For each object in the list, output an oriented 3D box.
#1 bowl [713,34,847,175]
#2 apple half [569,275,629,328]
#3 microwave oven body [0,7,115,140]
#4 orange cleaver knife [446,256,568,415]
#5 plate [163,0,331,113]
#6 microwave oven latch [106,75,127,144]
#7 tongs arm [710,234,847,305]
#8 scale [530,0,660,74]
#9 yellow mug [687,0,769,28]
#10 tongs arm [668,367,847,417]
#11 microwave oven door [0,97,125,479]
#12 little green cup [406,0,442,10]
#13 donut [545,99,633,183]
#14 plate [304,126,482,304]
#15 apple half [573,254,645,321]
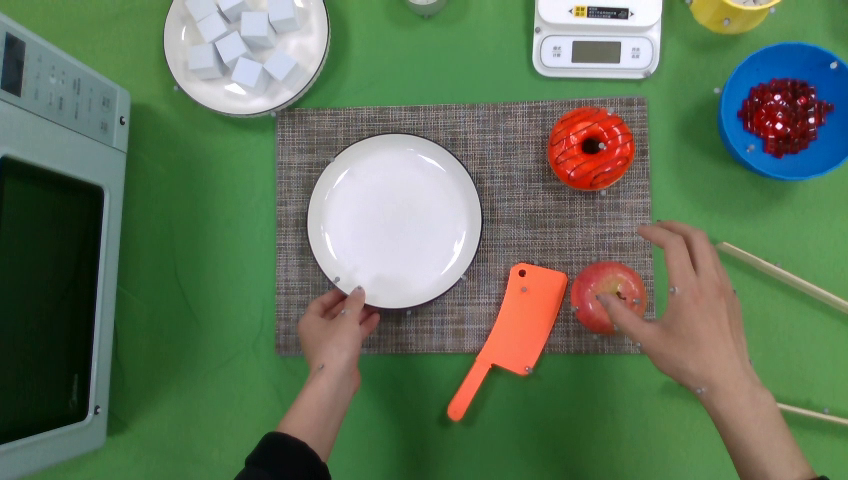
[{"bbox_3d":[0.390,-0.141,0.674,0.151,0.077,0.151,0,86,5],"label":"bowl"},{"bbox_3d":[0.185,0.075,0.671,0.081,0.081,0.033,42,86,7],"label":"apple half"},{"bbox_3d":[-0.543,0.006,0.639,0.326,0.261,0.441,1,86,4],"label":"microwave oven body"},{"bbox_3d":[0.096,0.114,0.701,0.077,0.012,0.211,28,86,0],"label":"orange cleaver knife"},{"bbox_3d":[-0.214,-0.255,0.750,0.207,0.039,0.207,0,85,4],"label":"plate"},{"bbox_3d":[-0.381,-0.158,0.736,0.030,0.029,0.079,4,87,4],"label":"microwave oven latch"},{"bbox_3d":[0.498,0.091,0.672,0.387,0.028,0.028,29,80,6],"label":"tongs arm"},{"bbox_3d":[0.206,-0.302,0.724,0.148,0.031,0.200,3,86,5],"label":"scale"},{"bbox_3d":[0.352,-0.318,0.696,0.100,0.064,0.130,-34,83,2],"label":"yellow mug"},{"bbox_3d":[0.468,0.172,0.664,0.384,0.026,0.050,14,82,5],"label":"tongs arm"},{"bbox_3d":[-0.399,0.051,0.620,0.039,0.244,0.355,1,85,5],"label":"microwave oven door"},{"bbox_3d":[-0.001,-0.313,0.737,0.061,0.039,0.061,0,85,5],"label":"little green cup"},{"bbox_3d":[0.189,-0.114,0.701,0.099,0.048,0.099,0,86,6],"label":"donut"},{"bbox_3d":[-0.036,-0.029,0.715,0.209,0.038,0.208,0,86,5],"label":"plate"},{"bbox_3d":[0.211,0.046,0.672,0.080,0.075,0.053,41,86,10],"label":"apple half"}]
